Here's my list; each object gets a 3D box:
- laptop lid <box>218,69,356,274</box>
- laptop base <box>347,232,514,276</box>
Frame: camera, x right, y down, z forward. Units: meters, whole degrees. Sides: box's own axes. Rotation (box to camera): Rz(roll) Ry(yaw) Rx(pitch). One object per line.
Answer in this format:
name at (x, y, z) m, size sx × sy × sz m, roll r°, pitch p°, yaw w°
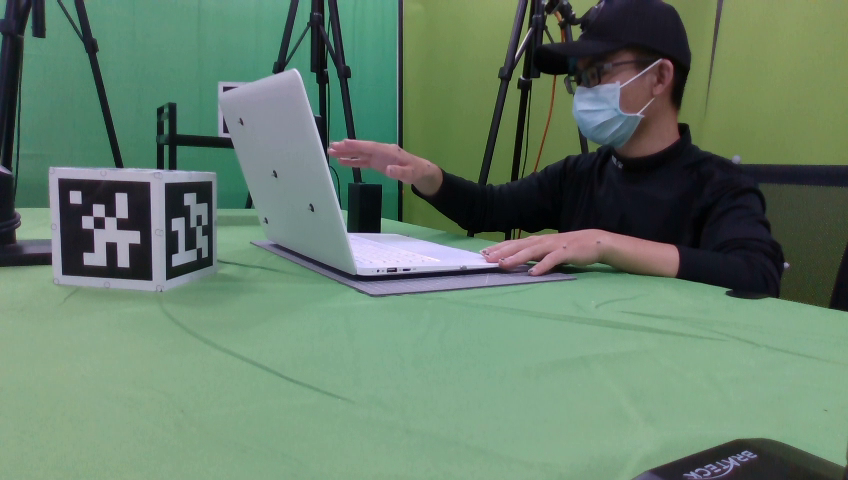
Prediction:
laptop lid at (-0.195, -0.090, 0.798) m, size 0.013 × 0.242 × 0.355 m, roll -23°, pitch 20°, yaw -27°
laptop base at (-0.066, 0.017, 0.893) m, size 0.237 × 0.023 × 0.352 m, roll 2°, pitch 6°, yaw -32°
